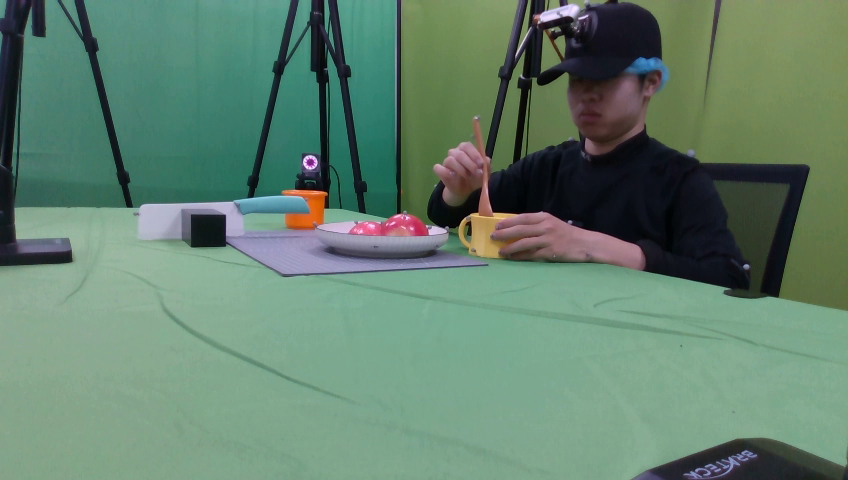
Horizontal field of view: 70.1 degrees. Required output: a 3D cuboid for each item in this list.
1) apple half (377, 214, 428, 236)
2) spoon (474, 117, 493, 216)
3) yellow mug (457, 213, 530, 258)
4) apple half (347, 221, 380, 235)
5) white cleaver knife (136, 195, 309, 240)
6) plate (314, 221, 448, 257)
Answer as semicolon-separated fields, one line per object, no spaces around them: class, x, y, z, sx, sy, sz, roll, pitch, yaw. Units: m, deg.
apple half;-0.034;-0.013;0.924;0.080;0.053;0.075;5;10;16
spoon;0.096;-0.105;0.981;0.022;0.193;0.041;1;-10;-22
yellow mug;0.108;-0.011;0.992;0.130;0.064;0.100;6;7;36
apple half;-0.089;-0.014;0.985;0.081;0.033;0.081;5;6;0
white cleaver knife;-0.337;-0.039;1.037;0.288;0.066;0.021;-6;15;-29
plate;-0.067;-0.002;0.948;0.209;0.038;0.209;3;7;0
